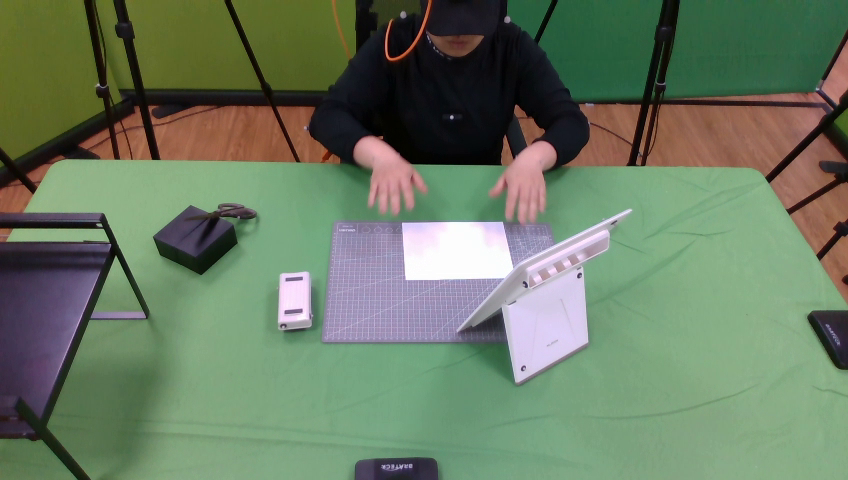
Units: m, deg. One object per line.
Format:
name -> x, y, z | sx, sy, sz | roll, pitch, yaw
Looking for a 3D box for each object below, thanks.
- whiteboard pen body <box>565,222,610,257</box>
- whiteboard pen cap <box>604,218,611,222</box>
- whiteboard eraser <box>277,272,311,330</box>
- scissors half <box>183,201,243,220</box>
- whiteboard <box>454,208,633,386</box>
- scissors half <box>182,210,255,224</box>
whiteboard pen body -> 0.334, -0.004, 1.228 | 0.141, 0.017, 0.017 | -33, 56, -29
whiteboard pen cap -> 0.378, -0.031, 1.255 | 0.033, 0.018, 0.018 | -33, 57, -29
whiteboard eraser -> -0.228, 0.108, 1.062 | 0.056, 0.042, 0.112 | -3, 46, -9
scissors half -> -0.405, -0.054, 1.163 | 0.040, 0.013, 0.175 | 29, 18, 7
whiteboard -> 0.211, 0.111, 0.954 | 0.217, 0.306, 0.143 | -22, 72, -24
scissors half -> -0.389, -0.043, 1.158 | 0.040, 0.013, 0.175 | 40, 21, 23
